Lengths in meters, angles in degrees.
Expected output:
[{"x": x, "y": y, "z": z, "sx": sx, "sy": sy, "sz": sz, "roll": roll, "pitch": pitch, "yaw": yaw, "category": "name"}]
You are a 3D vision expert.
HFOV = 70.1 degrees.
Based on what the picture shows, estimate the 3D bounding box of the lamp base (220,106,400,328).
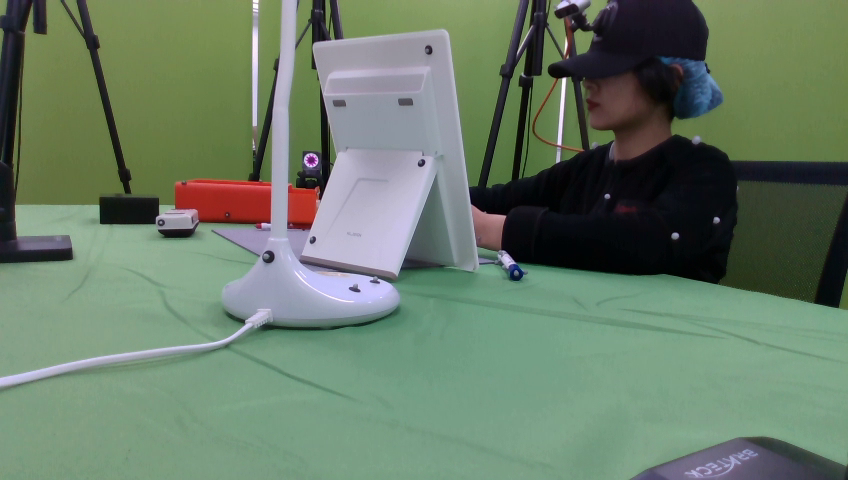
[{"x": -0.101, "y": -0.023, "z": 0.531, "sx": 0.160, "sy": 0.180, "sz": 0.179, "roll": 4, "pitch": 10, "yaw": 10, "category": "lamp base"}]

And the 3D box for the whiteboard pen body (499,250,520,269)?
[{"x": 0.116, "y": 0.032, "z": 0.811, "sx": 0.017, "sy": 0.017, "sz": 0.140, "roll": 2, "pitch": 8, "yaw": -1, "category": "whiteboard pen body"}]

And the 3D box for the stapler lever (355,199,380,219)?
[{"x": -0.115, "y": -0.062, "z": 1.233, "sx": 0.027, "sy": 0.040, "sz": 0.118, "roll": 8, "pitch": 4, "yaw": 8, "category": "stapler lever"}]

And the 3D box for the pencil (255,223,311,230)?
[{"x": -0.216, "y": -0.022, "z": 1.134, "sx": 0.195, "sy": 0.012, "sz": 0.012, "roll": 2, "pitch": 7, "yaw": -22, "category": "pencil"}]

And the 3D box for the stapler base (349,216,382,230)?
[{"x": -0.117, "y": -0.036, "z": 1.233, "sx": 0.041, "sy": 0.024, "sz": 0.131, "roll": 8, "pitch": 5, "yaw": 8, "category": "stapler base"}]

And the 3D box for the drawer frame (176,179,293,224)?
[{"x": -0.395, "y": -0.086, "z": 1.299, "sx": 0.214, "sy": 0.082, "sz": 0.201, "roll": 1, "pitch": 8, "yaw": -9, "category": "drawer frame"}]

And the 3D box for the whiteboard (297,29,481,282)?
[{"x": -0.075, "y": -0.082, "z": 0.741, "sx": 0.216, "sy": 0.305, "sz": 0.144, "roll": 9, "pitch": 29, "yaw": 37, "category": "whiteboard"}]

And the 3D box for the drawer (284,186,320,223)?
[{"x": -0.333, "y": -0.083, "z": 1.310, "sx": 0.212, "sy": 0.073, "sz": 0.194, "roll": 1, "pitch": 8, "yaw": -8, "category": "drawer"}]

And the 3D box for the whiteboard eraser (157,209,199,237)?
[{"x": -0.411, "y": -0.029, "z": 1.016, "sx": 0.056, "sy": 0.042, "sz": 0.112, "roll": 2, "pitch": 7, "yaw": -16, "category": "whiteboard eraser"}]

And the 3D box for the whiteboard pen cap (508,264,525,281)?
[{"x": 0.115, "y": 0.039, "z": 0.752, "sx": 0.018, "sy": 0.018, "sz": 0.033, "roll": 2, "pitch": 9, "yaw": 0, "category": "whiteboard pen cap"}]
